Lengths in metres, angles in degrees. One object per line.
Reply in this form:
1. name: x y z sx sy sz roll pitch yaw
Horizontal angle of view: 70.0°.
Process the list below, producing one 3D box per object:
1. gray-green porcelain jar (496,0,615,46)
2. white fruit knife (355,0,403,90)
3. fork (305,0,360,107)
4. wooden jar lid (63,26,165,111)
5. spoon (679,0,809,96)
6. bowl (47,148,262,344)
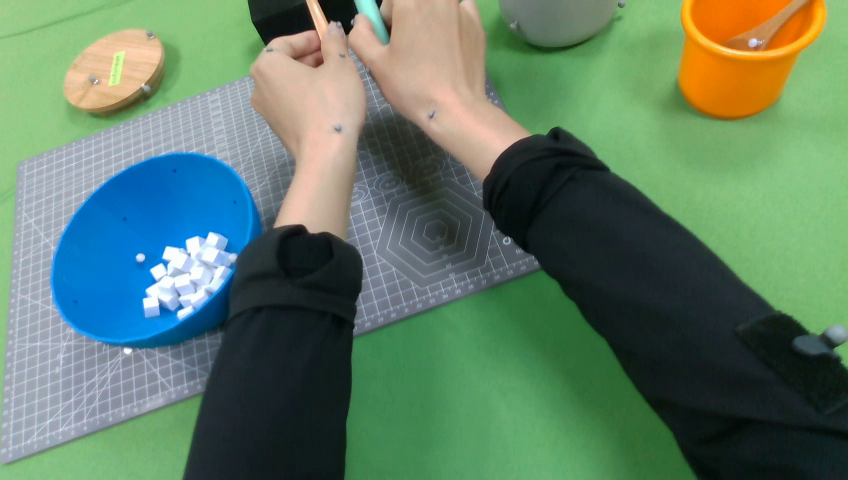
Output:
1. gray-green porcelain jar: 0.108 -0.235 0.496 0.106 0.128 0.105 -5 61 9
2. white fruit knife: -0.057 -0.216 0.493 0.016 0.027 0.206 -19 75 -9
3. fork: -0.093 -0.196 0.491 0.028 0.019 0.206 -21 74 -10
4. wooden jar lid: -0.312 -0.173 0.616 0.108 0.021 0.107 -4 61 8
5. spoon: 0.262 -0.165 0.413 0.022 0.194 0.041 7 58 -35
6. bowl: -0.181 0.015 0.448 0.151 0.077 0.150 -5 61 10
